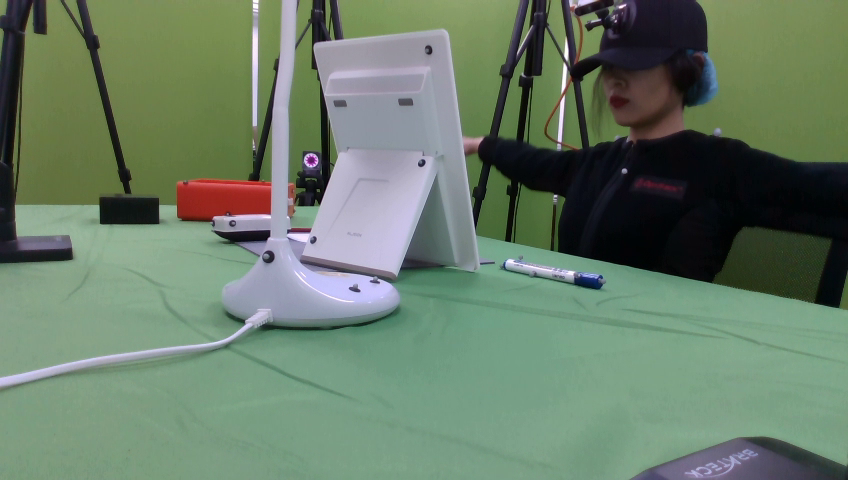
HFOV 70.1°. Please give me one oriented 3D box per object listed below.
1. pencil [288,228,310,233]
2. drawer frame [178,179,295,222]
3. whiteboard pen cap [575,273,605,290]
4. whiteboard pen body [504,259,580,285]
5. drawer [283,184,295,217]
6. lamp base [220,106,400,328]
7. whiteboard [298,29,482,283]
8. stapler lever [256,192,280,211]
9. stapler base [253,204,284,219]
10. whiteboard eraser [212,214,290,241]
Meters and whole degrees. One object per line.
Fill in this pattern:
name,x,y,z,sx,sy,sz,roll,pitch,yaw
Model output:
pencil,-0.239,-0.017,1.093,0.195,0.012,0.012,1,7,-27
drawer frame,-0.397,-0.088,1.315,0.214,0.082,0.201,1,8,-7
whiteboard pen cap,0.197,0.047,0.719,0.018,0.018,0.033,-4,11,-41
whiteboard pen body,0.157,0.041,0.764,0.017,0.017,0.140,-4,10,-41
drawer,-0.394,-0.086,1.317,0.212,0.073,0.194,1,8,-7
lamp base,-0.101,-0.023,0.531,0.160,0.180,0.179,4,10,10
whiteboard,-0.075,-0.082,0.742,0.216,0.305,0.144,9,29,37
stapler lever,-0.337,-0.088,1.305,0.027,0.040,0.118,2,11,-2
stapler base,-0.336,-0.065,1.308,0.041,0.024,0.130,2,9,-2
whiteboard eraser,-0.278,-0.021,0.976,0.113,0.042,0.055,-3,11,-40
